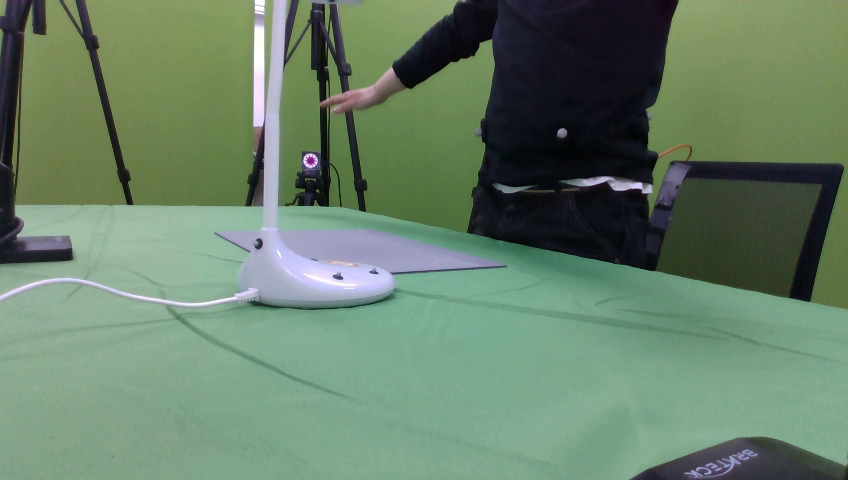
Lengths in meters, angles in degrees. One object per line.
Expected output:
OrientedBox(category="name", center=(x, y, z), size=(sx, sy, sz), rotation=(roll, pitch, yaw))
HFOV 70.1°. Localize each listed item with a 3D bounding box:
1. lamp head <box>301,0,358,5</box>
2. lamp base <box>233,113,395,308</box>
OrientedBox(category="lamp head", center=(-0.095, -0.314, 0.610), size=(0.112, 0.123, 0.112), rotation=(-4, 50, 5))
OrientedBox(category="lamp base", center=(-0.113, -0.033, 0.600), size=(0.160, 0.180, 0.180), rotation=(6, 11, 28))
